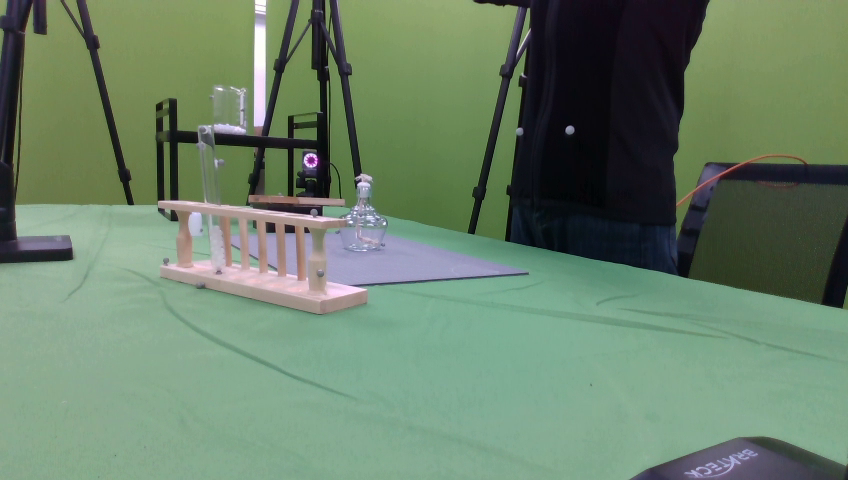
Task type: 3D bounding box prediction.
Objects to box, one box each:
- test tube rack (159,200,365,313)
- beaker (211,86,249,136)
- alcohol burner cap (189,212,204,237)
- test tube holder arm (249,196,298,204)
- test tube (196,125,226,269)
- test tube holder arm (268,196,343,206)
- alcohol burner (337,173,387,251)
[{"bbox_3d":[-0.173,0.009,0.624,0.241,0.085,0.067,7,9,34],"label":"test tube rack"},{"bbox_3d":[-0.413,-0.274,1.297,0.074,0.100,0.083,-5,11,-44],"label":"beaker"},{"bbox_3d":[-0.389,-0.029,1.026,0.034,0.048,0.034,2,9,0],"label":"alcohol burner cap"},{"bbox_3d":[-0.281,-0.074,1.129,0.088,0.015,0.010,1,8,-22],"label":"test tube holder arm"},{"bbox_3d":[-0.221,-0.043,0.629,0.017,0.150,0.017,-3,8,1],"label":"test tube"},{"bbox_3d":[-0.241,-0.075,1.152,0.179,0.015,0.013,0,8,-24],"label":"test tube holder arm"},{"bbox_3d":[-0.095,-0.043,0.926,0.078,0.119,0.078,3,6,0],"label":"alcohol burner"}]
